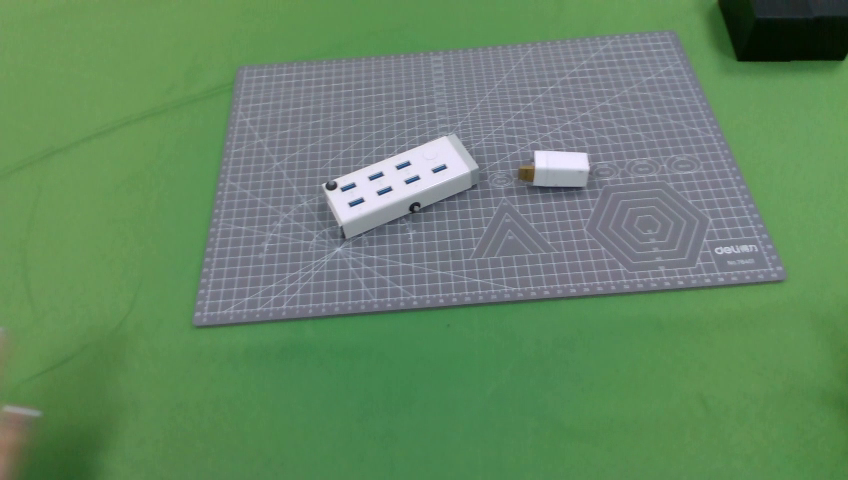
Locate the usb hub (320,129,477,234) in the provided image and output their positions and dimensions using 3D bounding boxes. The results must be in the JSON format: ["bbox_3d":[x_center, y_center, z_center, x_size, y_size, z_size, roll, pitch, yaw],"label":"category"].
[{"bbox_3d":[-0.021,-0.051,0.510,0.125,0.025,0.049,-23,57,-12],"label":"usb hub"}]

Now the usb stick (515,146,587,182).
[{"bbox_3d":[0.106,-0.064,0.509,0.059,0.022,0.027,0,45,2],"label":"usb stick"}]
